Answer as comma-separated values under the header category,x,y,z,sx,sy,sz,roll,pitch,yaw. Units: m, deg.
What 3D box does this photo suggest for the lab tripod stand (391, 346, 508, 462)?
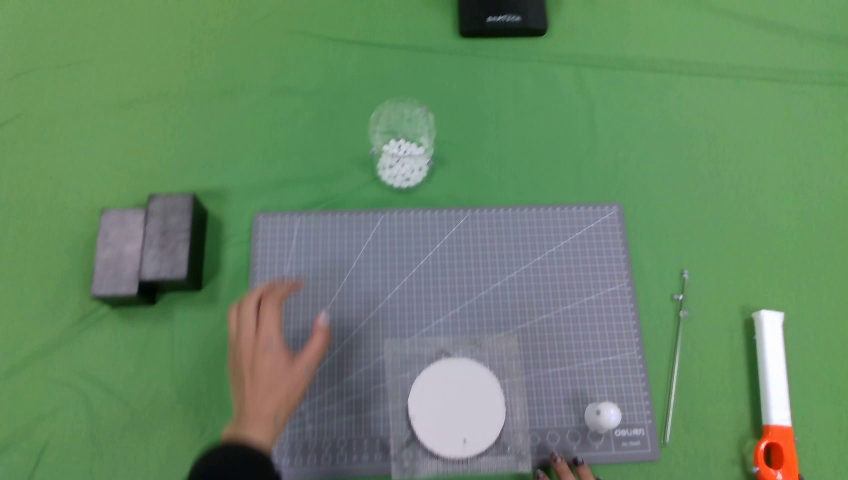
category,x,y,z,sx,sy,sz,roll,pitch,yaw
lab tripod stand,0.026,0.168,0.601,0.148,0.132,0.147,0,70,-1

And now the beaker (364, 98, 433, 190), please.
category,x,y,z,sx,sy,sz,roll,pitch,yaw
beaker,-0.026,-0.106,0.712,0.083,0.101,0.074,42,75,11

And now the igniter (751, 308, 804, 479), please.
category,x,y,z,sx,sy,sz,roll,pitch,yaw
igniter,0.383,0.211,0.660,0.057,0.025,0.275,10,71,-11

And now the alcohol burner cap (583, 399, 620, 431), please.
category,x,y,z,sx,sy,sz,roll,pitch,yaw
alcohol burner cap,0.192,0.187,0.650,0.034,0.048,0.033,0,69,0

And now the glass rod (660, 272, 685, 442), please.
category,x,y,z,sx,sy,sz,roll,pitch,yaw
glass rod,0.285,0.130,0.693,0.008,0.008,0.198,14,72,2

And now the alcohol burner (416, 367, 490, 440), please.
category,x,y,z,sx,sy,sz,roll,pitch,yaw
alcohol burner,0.031,0.161,0.614,0.078,0.120,0.077,1,69,-2

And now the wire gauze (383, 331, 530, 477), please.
category,x,y,z,sx,sy,sz,roll,pitch,yaw
wire gauze,0.028,0.142,0.538,0.125,0.011,0.120,-2,70,-4
